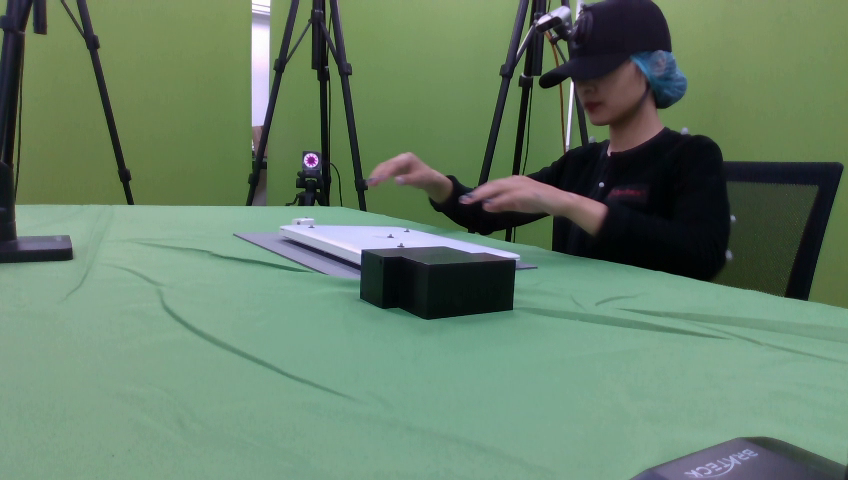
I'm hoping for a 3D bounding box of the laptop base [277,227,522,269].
[{"bbox_3d":[-0.053,0.010,0.911,0.237,0.023,0.352,2,6,-32],"label":"laptop base"}]

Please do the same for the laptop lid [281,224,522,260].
[{"bbox_3d":[-0.050,-0.002,0.911,0.243,0.013,0.355,1,7,-31],"label":"laptop lid"}]

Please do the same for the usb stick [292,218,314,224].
[{"bbox_3d":[-0.222,-0.026,1.091,0.021,0.027,0.059,5,10,21],"label":"usb stick"}]
